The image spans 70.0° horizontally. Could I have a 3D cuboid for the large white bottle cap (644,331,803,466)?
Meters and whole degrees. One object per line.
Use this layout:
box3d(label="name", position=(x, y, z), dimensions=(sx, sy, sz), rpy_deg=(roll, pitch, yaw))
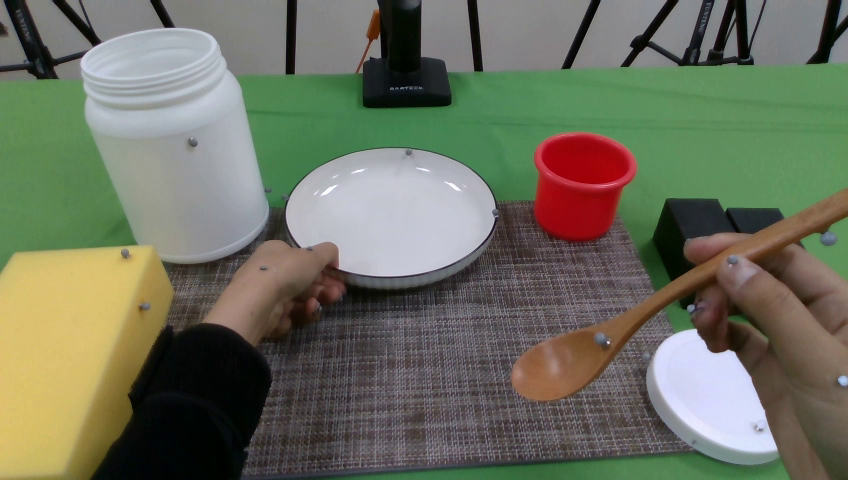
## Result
box3d(label="large white bottle cap", position=(0.231, 0.119, 0.471), dimensions=(0.115, 0.018, 0.113), rpy_deg=(3, 42, -2))

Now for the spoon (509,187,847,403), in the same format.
box3d(label="spoon", position=(0.120, 0.029, 0.293), dimensions=(0.022, 0.194, 0.041), rpy_deg=(38, 30, -22))

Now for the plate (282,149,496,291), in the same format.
box3d(label="plate", position=(-0.033, -0.020, 0.603), dimensions=(0.209, 0.038, 0.207), rpy_deg=(1, 41, -1))

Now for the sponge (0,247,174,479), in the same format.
box3d(label="sponge", position=(-0.276, 0.096, 0.450), dimensions=(0.118, 0.061, 0.204), rpy_deg=(-4, 41, -3))

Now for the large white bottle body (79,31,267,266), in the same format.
box3d(label="large white bottle body", position=(-0.226, -0.083, 0.558), dimensions=(0.130, 0.186, 0.129), rpy_deg=(-1, 40, 1))
